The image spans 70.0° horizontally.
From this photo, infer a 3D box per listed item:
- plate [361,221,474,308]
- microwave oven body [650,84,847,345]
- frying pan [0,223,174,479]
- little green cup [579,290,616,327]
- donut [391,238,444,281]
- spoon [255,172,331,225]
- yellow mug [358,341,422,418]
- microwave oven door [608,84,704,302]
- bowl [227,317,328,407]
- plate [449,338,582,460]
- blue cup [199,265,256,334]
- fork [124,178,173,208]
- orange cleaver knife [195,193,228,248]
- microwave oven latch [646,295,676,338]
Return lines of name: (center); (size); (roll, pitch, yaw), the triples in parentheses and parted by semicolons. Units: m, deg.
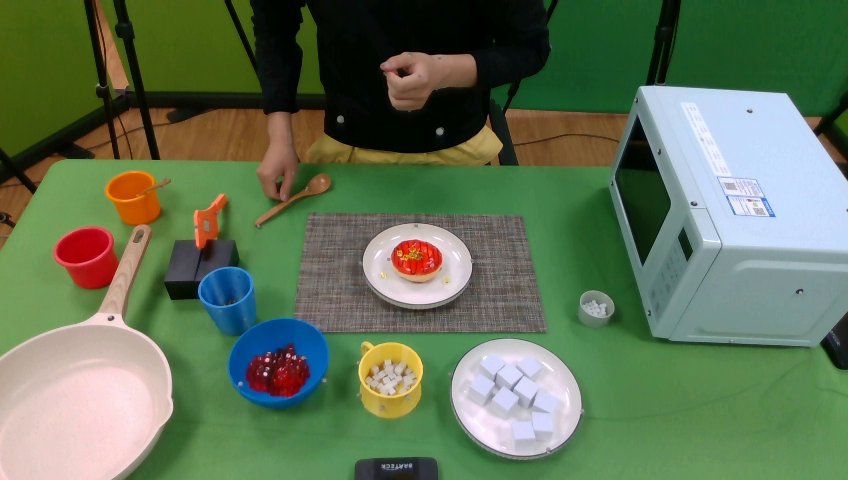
plate: (-0.011, 0.049, 1.130); (0.209, 0.038, 0.208); (2, 46, -2)
microwave oven body: (0.569, -0.054, 1.116); (0.326, 0.261, 0.439); (2, 46, -1)
frying pan: (-0.505, 0.169, 0.941); (0.307, 0.103, 0.485); (5, 54, -1)
little green cup: (0.308, 0.124, 1.086); (0.061, 0.039, 0.061); (1, 45, -1)
donut: (-0.012, 0.035, 1.128); (0.099, 0.048, 0.098); (3, 43, -2)
spoon: (-0.271, -0.087, 1.256); (0.041, 0.022, 0.193); (43, 57, 17)
yellow mug: (-0.063, 0.210, 0.961); (0.100, 0.064, 0.130); (-29, 54, -28)
microwave oven door: (0.424, -0.096, 1.138); (0.039, 0.245, 0.353); (2, 47, -1)
bowl: (-0.222, 0.203, 0.947); (0.151, 0.077, 0.150); (2, 46, -2)
plate: (0.141, 0.251, 0.956); (0.208, 0.039, 0.206); (2, 46, -2)
blue cup: (-0.321, 0.106, 1.015); (0.093, 0.101, 0.092); (2, 48, -2)
fork: (-0.525, -0.089, 1.153); (0.207, 0.019, 0.028); (-17, 27, 45)
orange cleaver knife: (-0.406, -0.041, 1.163); (0.012, 0.077, 0.210); (0, 18, -4)
microwave oven latch: (0.413, 0.133, 1.060); (0.030, 0.029, 0.078); (4, 46, 1)
